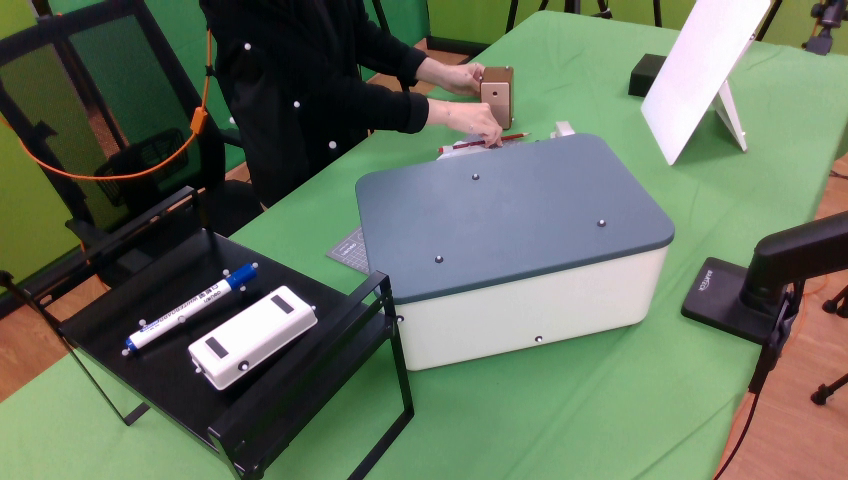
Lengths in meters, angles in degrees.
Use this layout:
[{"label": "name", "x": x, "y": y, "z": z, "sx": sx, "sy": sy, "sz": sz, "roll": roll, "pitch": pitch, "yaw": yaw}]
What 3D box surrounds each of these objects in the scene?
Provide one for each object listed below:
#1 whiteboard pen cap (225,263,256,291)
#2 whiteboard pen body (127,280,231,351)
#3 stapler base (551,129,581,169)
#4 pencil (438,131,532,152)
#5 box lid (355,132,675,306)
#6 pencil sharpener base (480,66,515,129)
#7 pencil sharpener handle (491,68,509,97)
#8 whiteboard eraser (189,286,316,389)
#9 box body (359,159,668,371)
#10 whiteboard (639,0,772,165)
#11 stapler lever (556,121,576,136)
[{"label": "whiteboard pen cap", "x": -0.204, "y": 0.041, "z": 0.668, "sx": 0.033, "sy": 0.018, "sz": 0.018, "roll": -36, "pitch": 48, "yaw": -22}, {"label": "whiteboard pen body", "x": -0.248, "y": 0.072, "z": 0.645, "sx": 0.141, "sy": 0.017, "sz": 0.017, "roll": -35, "pitch": 47, "yaw": -23}, {"label": "stapler base", "x": 0.268, "y": -0.178, "z": 1.142, "sx": 0.041, "sy": 0.024, "sz": 0.130, "roll": 0, "pitch": 37, "yaw": 3}, {"label": "pencil", "x": 0.121, "y": -0.194, "z": 1.180, "sx": 0.195, "sy": 0.012, "sz": 0.012, "roll": -13, "pitch": 41, "yaw": -10}, {"label": "box lid", "x": 0.103, "y": -0.042, "z": 0.785, "sx": 0.372, "sy": 0.015, "sz": 0.261, "roll": -12, "pitch": 41, "yaw": -5}, {"label": "pencil sharpener base", "x": 0.151, "y": -0.290, "z": 1.228, "sx": 0.061, "sy": 0.107, "sz": 0.076, "roll": 3, "pitch": 41, "yaw": 13}, {"label": "pencil sharpener handle", "x": 0.156, "y": -0.333, "z": 1.258, "sx": 0.036, "sy": 0.068, "sz": 0.030, "roll": 14, "pitch": 43, "yaw": 3}, {"label": "whiteboard eraser", "x": -0.166, "y": 0.096, "z": 0.593, "sx": 0.113, "sy": 0.042, "sz": 0.055, "roll": -36, "pitch": 47, "yaw": -29}, {"label": "box body", "x": 0.108, "y": 0.014, "z": 0.833, "sx": 0.365, "sy": 0.161, "sz": 0.252, "roll": -11, "pitch": 41, "yaw": -5}, {"label": "whiteboard", "x": 0.543, "y": -0.298, "z": 1.076, "sx": 0.144, "sy": 0.305, "sz": 0.216, "roll": 12, "pitch": 40, "yaw": -7}, {"label": "stapler lever", "x": 0.266, "y": -0.198, "z": 1.128, "sx": 0.027, "sy": 0.040, "sz": 0.117, "roll": 0, "pitch": 38, "yaw": 3}]
